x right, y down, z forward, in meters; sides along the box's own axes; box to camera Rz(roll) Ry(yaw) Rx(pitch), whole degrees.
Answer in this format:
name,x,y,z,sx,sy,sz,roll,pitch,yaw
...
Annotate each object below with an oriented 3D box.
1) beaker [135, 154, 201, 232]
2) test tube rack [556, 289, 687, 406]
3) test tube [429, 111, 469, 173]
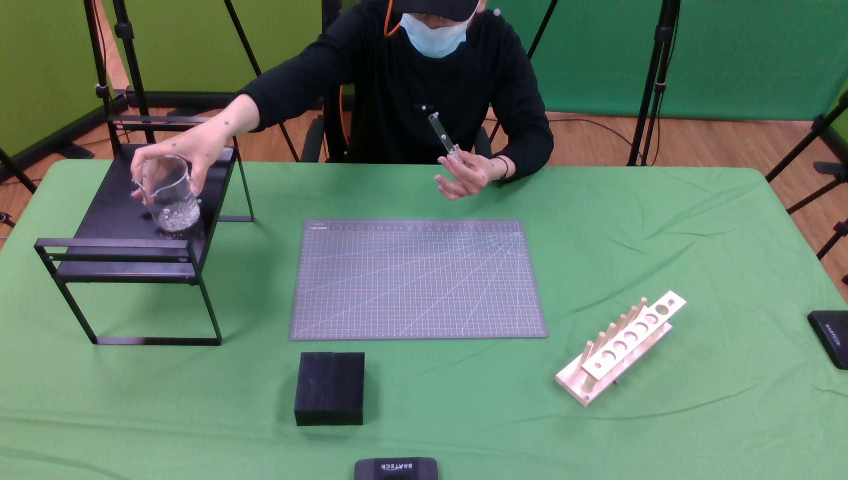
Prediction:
name,x,y,z,sx,sy,sz,roll,pitch,yaw
beaker,-0.385,-0.066,0.921,0.074,0.101,0.083,4,50,2
test tube rack,0.332,0.166,1.014,0.242,0.085,0.066,-30,55,-28
test tube,0.048,-0.177,1.110,0.017,0.151,0.017,-18,45,19
